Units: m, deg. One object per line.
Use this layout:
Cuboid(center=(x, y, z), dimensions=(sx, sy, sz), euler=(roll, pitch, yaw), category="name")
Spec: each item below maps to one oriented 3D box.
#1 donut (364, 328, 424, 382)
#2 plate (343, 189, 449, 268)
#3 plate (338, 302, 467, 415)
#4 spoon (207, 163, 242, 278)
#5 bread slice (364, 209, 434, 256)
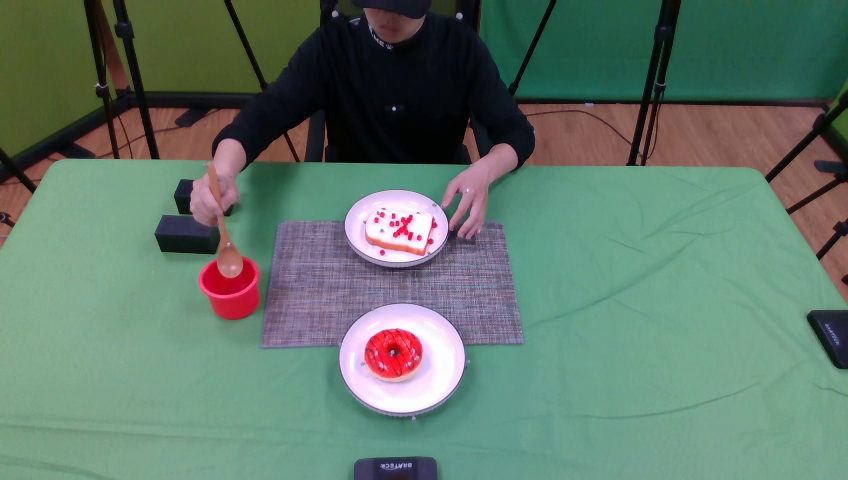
Cuboid(center=(-0.049, 0.185, 0.984), dimensions=(0.099, 0.048, 0.098), euler=(1, 45, -1), category="donut")
Cuboid(center=(-0.055, -0.020, 1.195), dimensions=(0.209, 0.038, 0.208), euler=(3, 46, -2), category="plate")
Cuboid(center=(-0.035, 0.194, 0.992), dimensions=(0.208, 0.039, 0.206), euler=(2, 48, -2), category="plate")
Cuboid(center=(-0.333, -0.030, 0.995), dimensions=(0.041, 0.194, 0.021), euler=(-6, 19, -5), category="spoon")
Cuboid(center=(-0.053, -0.020, 1.199), dimensions=(0.131, 0.019, 0.104), euler=(10, 46, 4), category="bread slice")
